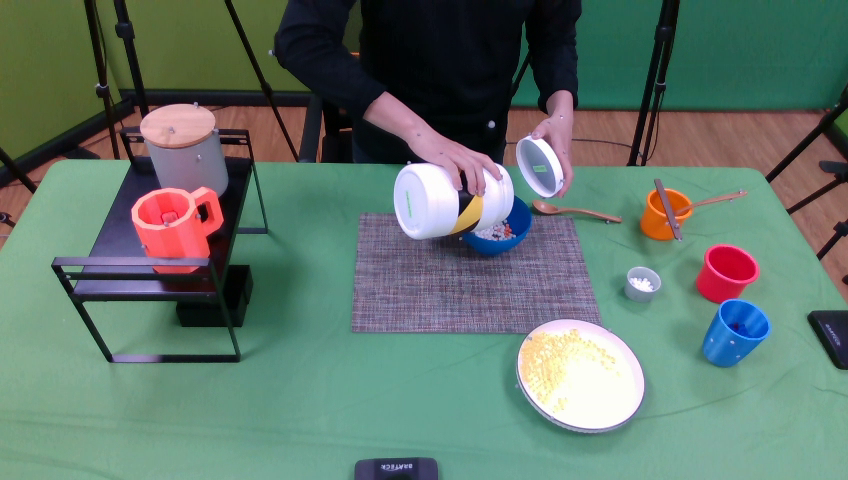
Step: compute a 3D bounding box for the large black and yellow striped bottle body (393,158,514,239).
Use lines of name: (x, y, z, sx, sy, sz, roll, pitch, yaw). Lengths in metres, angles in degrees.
large black and yellow striped bottle body: (0.053, -0.075, 1.058, 0.184, 0.131, 0.130, -9, 46, -31)

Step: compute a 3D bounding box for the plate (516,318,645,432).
plate: (0.253, 0.221, 0.993, 0.209, 0.038, 0.208, 2, 46, -2)

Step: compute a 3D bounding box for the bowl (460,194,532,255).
bowl: (0.130, -0.025, 1.186, 0.151, 0.077, 0.150, 2, 46, -2)

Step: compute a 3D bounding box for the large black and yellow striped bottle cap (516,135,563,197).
large black and yellow striped bottle cap: (0.204, -0.131, 1.076, 0.019, 0.115, 0.114, -29, 54, -13)

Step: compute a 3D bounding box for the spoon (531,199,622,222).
spoon: (0.322, -0.060, 1.279, 0.194, 0.022, 0.041, 8, 33, 4)

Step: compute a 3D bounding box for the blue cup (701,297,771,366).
blue cup: (0.519, 0.162, 1.025, 0.093, 0.101, 0.092, 3, 45, -3)

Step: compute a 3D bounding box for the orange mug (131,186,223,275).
orange mug: (-0.354, -0.023, 0.887, 0.083, 0.101, 0.126, 31, 56, 24)

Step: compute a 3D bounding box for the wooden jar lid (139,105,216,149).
wooden jar lid: (-0.372, -0.169, 0.920, 0.108, 0.021, 0.107, 4, 44, -4)

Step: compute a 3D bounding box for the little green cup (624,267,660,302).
little green cup: (0.406, 0.084, 1.135, 0.061, 0.039, 0.061, 3, 45, -3)

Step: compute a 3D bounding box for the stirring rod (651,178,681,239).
stirring rod: (0.480, -0.065, 1.204, 0.014, 0.006, 0.175, 2, 46, -2)

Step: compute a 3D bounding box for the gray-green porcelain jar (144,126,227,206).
gray-green porcelain jar: (-0.375, -0.125, 0.967, 0.106, 0.127, 0.105, 2, 46, -2)

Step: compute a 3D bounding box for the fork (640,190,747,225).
fork: (0.533, -0.064, 1.211, 0.207, 0.019, 0.028, -22, 28, 38)
